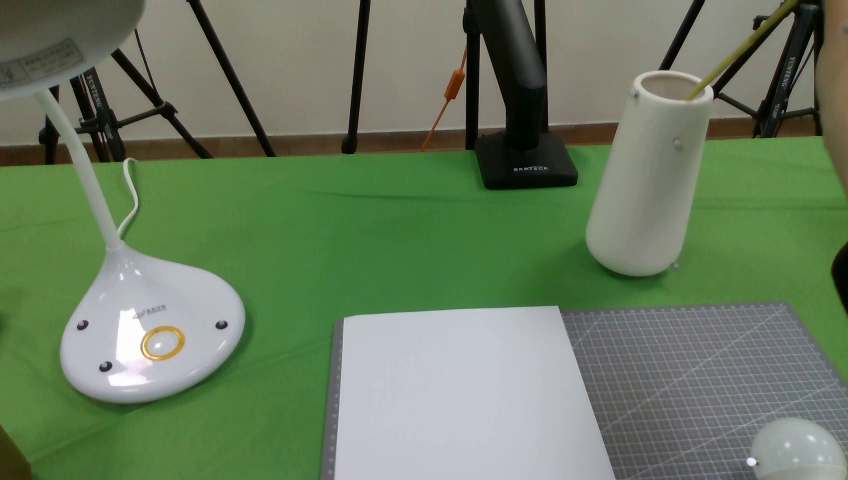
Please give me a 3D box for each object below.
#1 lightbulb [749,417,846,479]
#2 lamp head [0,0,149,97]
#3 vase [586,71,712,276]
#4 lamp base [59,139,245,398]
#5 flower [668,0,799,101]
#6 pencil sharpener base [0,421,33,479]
[{"bbox_3d":[0.268,0.178,0.424,0.059,0.060,0.106,1,55,1],"label":"lightbulb"},{"bbox_3d":[-0.213,-0.144,0.287,0.112,0.112,0.123,-35,88,-35],"label":"lamp head"},{"bbox_3d":[0.221,-0.061,0.602,0.098,0.202,0.097,-1,38,1],"label":"vase"},{"bbox_3d":[-0.257,0.015,0.521,0.161,0.182,0.177,-30,45,-31],"label":"lamp base"},{"bbox_3d":[0.260,-0.167,0.434,0.038,0.362,0.044,-29,80,-34],"label":"flower"},{"bbox_3d":[-0.311,0.158,0.402,0.061,0.108,0.076,-21,44,-24],"label":"pencil sharpener base"}]
